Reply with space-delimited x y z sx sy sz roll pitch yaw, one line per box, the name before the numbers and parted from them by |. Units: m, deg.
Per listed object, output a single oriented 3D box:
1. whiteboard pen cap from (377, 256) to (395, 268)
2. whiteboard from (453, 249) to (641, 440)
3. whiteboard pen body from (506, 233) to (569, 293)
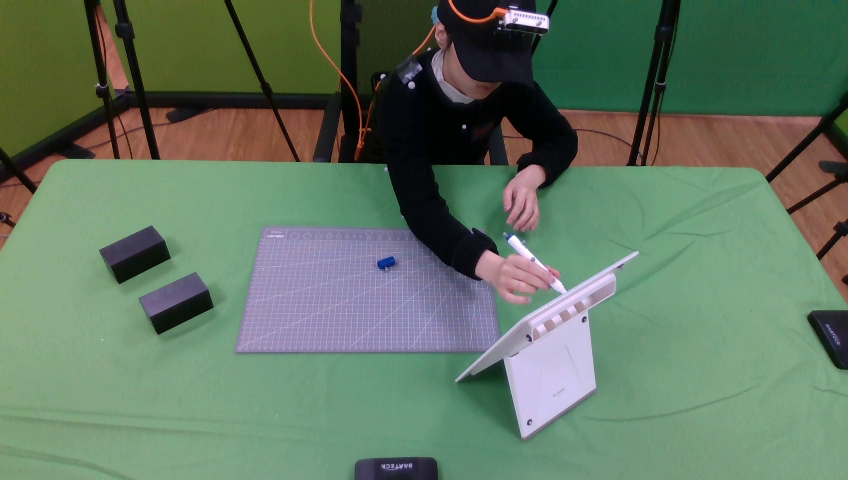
whiteboard pen cap | -0.072 0.042 1.149 0.033 0.018 0.018 -18 50 -17
whiteboard | 0.206 0.175 0.889 0.217 0.306 0.143 -25 72 -25
whiteboard pen body | 0.181 0.040 0.941 0.017 0.017 0.140 -35 73 -31
